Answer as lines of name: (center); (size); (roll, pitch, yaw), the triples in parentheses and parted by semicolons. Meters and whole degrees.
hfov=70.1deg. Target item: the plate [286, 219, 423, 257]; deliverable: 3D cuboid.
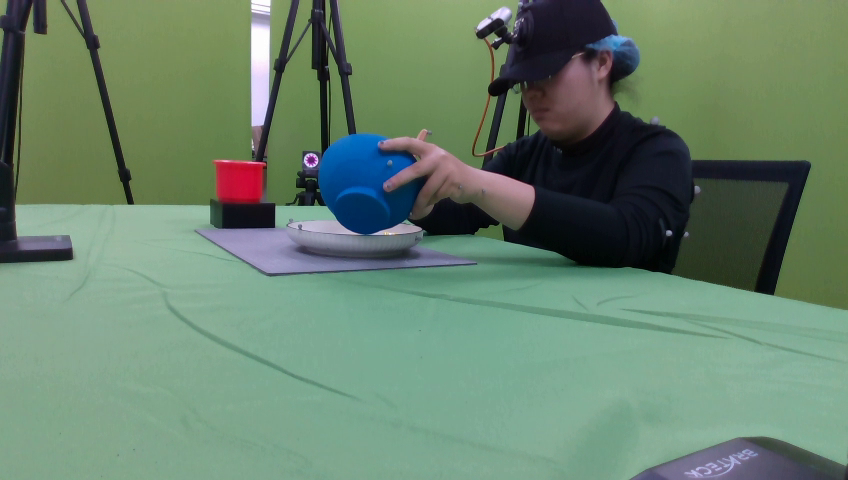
plate: (-0.105, -0.003, 0.922); (0.208, 0.039, 0.207); (3, 7, 0)

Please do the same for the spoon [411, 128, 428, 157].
spoon: (-0.034, -0.099, 0.895); (0.041, 0.022, 0.194); (8, 50, 25)

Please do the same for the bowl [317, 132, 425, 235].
bowl: (-0.077, -0.060, 0.810); (0.151, 0.151, 0.076); (3, 45, 6)
